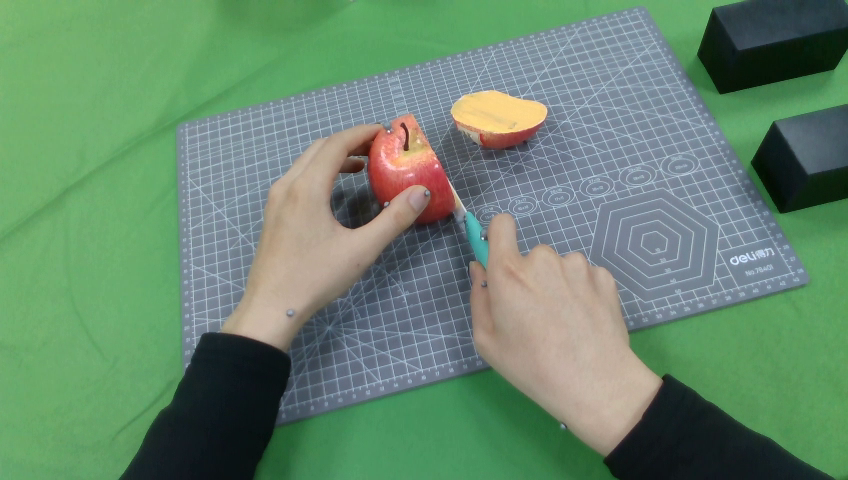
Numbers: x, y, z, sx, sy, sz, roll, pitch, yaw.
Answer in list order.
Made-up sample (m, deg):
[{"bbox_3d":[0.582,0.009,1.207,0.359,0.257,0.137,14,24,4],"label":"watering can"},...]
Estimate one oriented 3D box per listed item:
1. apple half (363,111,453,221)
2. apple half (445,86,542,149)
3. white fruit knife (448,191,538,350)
[{"bbox_3d":[-0.017,-0.049,0.461,0.053,0.075,0.080,-28,64,-3],"label":"apple half"},{"bbox_3d":[0.054,-0.093,0.497,0.081,0.033,0.080,-1,41,2],"label":"apple half"},{"bbox_3d":[0.032,-0.010,0.457,0.016,0.027,0.205,-17,55,-16],"label":"white fruit knife"}]
